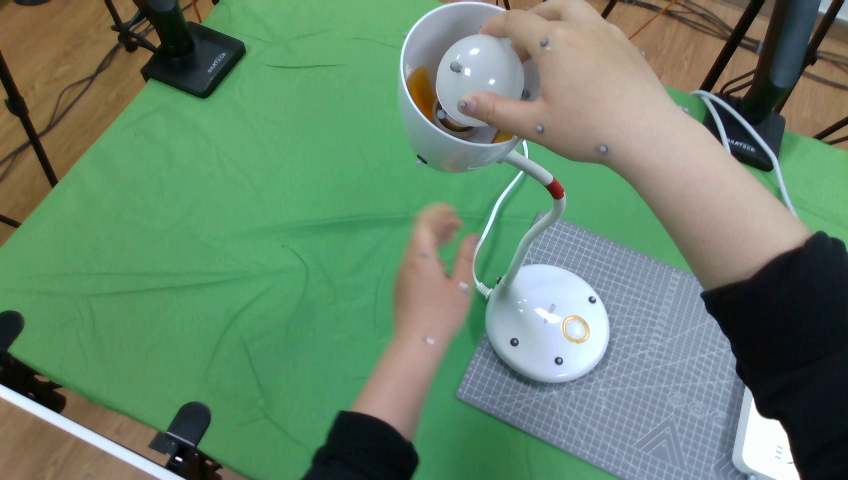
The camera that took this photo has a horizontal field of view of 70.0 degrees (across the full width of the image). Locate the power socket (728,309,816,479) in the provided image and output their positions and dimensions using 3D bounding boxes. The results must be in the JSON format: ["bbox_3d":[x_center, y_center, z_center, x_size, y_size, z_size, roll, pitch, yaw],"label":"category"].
[{"bbox_3d":[0.432,0.187,0.749,0.072,0.033,0.225,23,63,7],"label":"power socket"}]

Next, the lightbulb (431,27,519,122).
[{"bbox_3d":[0.030,-0.111,0.439,0.060,0.107,0.059,2,81,-12],"label":"lightbulb"}]

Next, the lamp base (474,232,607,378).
[{"bbox_3d":[0.145,0.060,0.714,0.179,0.181,0.159,17,63,9],"label":"lamp base"}]

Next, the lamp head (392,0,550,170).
[{"bbox_3d":[0.030,-0.102,0.471,0.112,0.123,0.111,1,73,-4],"label":"lamp head"}]
